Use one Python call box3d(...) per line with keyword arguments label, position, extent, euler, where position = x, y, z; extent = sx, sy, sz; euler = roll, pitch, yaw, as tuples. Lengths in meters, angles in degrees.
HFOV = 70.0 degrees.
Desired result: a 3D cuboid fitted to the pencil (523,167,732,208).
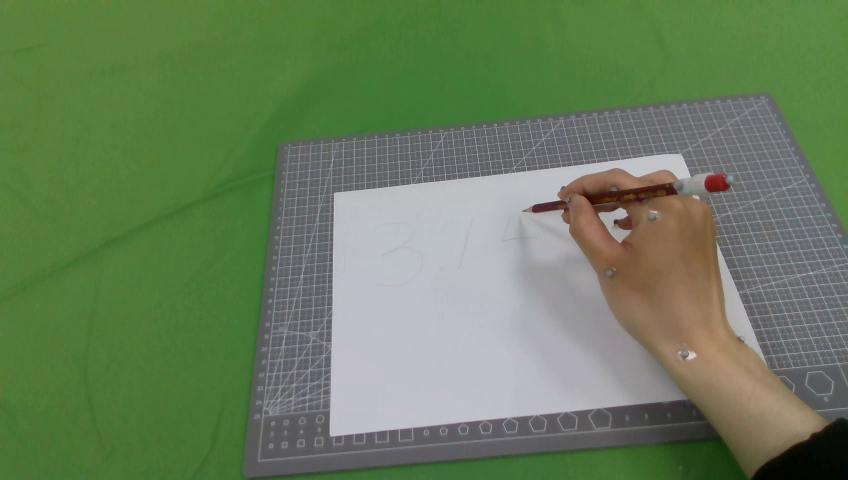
box3d(label="pencil", position=(0.117, -0.031, 0.398), extent=(0.012, 0.193, 0.012), euler=(0, 89, -23))
